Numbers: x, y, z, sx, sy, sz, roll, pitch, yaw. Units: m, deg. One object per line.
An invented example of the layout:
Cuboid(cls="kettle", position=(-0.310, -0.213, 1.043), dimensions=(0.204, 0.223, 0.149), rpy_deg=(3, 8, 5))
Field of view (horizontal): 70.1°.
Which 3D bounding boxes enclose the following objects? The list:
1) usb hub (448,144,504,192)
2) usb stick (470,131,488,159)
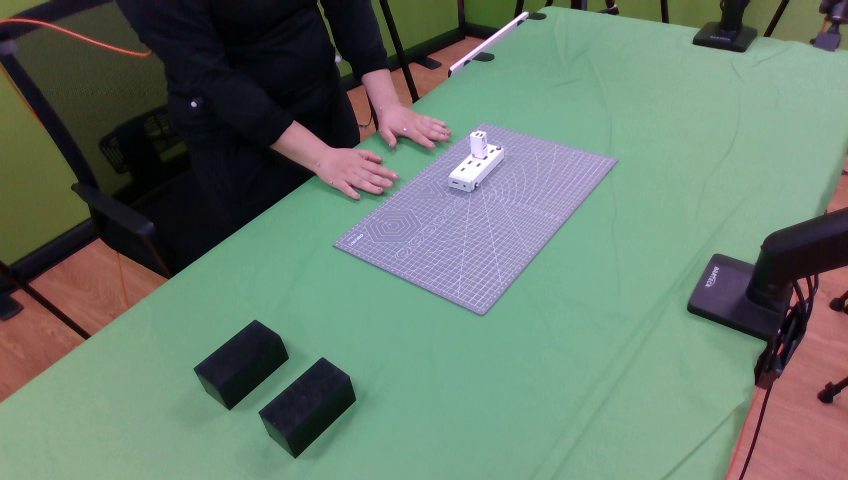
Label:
Cuboid(cls="usb hub", position=(0.097, -0.133, 1.105), dimensions=(0.049, 0.025, 0.125), rpy_deg=(20, 48, 28))
Cuboid(cls="usb stick", position=(0.100, -0.166, 1.099), dimensions=(0.027, 0.059, 0.021), rpy_deg=(18, 45, 25))
